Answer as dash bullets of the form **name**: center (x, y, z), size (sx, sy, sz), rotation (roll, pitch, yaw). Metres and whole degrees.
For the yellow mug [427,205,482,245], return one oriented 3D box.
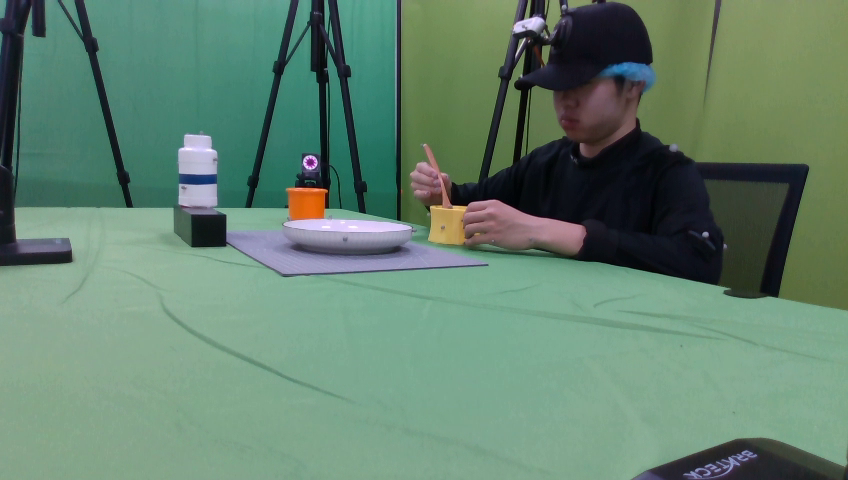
- **yellow mug**: center (0.063, -0.028, 1.111), size (0.100, 0.064, 0.130), rotation (0, 8, -21)

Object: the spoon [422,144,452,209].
- **spoon**: center (0.032, -0.099, 1.145), size (0.042, 0.193, 0.021), rotation (-8, -16, -31)

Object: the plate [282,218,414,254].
- **plate**: center (-0.121, -0.007, 0.971), size (0.208, 0.039, 0.207), rotation (2, 7, 0)

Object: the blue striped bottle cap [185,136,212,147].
- **blue striped bottle cap**: center (-0.390, -0.169, 1.047), size (0.044, 0.020, 0.044), rotation (4, 10, 0)

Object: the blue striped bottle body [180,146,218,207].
- **blue striped bottle body**: center (-0.392, -0.118, 1.053), size (0.063, 0.120, 0.063), rotation (2, 8, 0)
